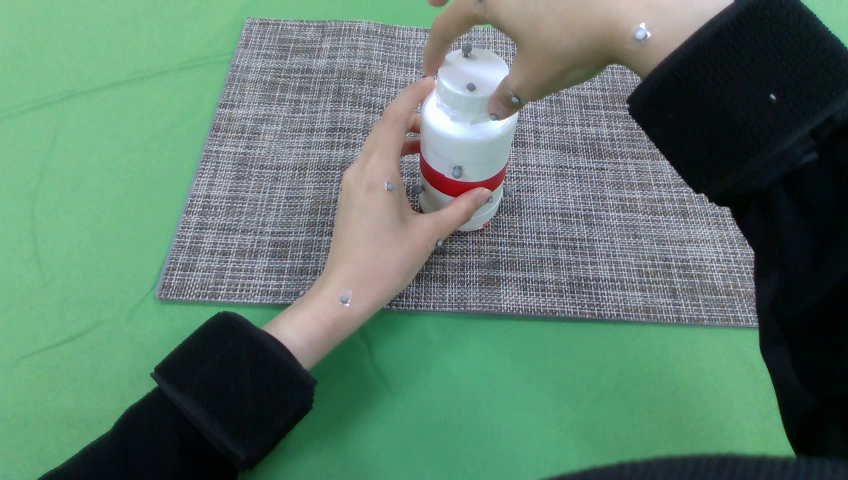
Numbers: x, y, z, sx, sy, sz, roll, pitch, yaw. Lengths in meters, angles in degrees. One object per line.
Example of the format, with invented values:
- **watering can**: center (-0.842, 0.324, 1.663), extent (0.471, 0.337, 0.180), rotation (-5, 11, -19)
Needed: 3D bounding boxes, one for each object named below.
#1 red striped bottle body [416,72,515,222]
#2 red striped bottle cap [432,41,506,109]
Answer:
- **red striped bottle body**: center (0.026, -0.070, 0.410), extent (0.063, 0.120, 0.062), rotation (1, 57, -1)
- **red striped bottle cap**: center (0.027, -0.100, 0.364), extent (0.044, 0.018, 0.044), rotation (0, 55, 0)
